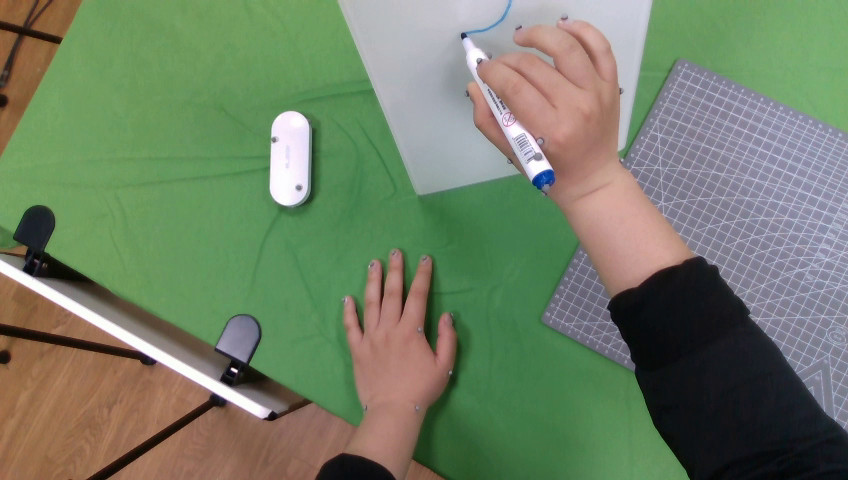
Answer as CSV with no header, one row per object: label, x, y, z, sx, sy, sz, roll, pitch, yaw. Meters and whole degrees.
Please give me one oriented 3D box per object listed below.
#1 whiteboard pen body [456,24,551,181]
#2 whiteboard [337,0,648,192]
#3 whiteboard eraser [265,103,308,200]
whiteboard pen body,0.049,-0.098,0.408,0.017,0.017,0.139,-26,65,4
whiteboard,0.057,-0.199,0.513,0.217,0.308,0.142,-12,64,6
whiteboard eraser,-0.145,-0.093,0.639,0.041,0.019,0.101,0,86,5
